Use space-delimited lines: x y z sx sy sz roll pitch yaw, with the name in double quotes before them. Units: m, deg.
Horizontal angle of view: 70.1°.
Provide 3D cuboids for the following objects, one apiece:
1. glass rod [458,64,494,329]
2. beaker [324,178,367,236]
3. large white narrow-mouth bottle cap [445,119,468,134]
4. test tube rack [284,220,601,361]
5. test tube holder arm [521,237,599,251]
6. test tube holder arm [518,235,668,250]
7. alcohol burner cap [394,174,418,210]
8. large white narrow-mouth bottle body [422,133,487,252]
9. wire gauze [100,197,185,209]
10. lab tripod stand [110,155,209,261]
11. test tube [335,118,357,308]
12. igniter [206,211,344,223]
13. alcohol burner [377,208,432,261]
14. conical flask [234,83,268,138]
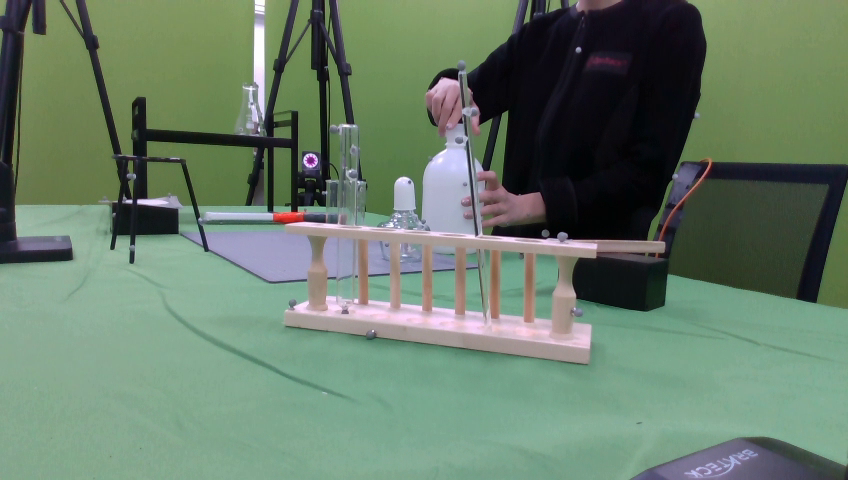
"glass rod" 0.040 -0.029 0.450 0.008 0.199 0.008 -7 9 1
"beaker" -0.139 -0.060 1.083 0.074 0.100 0.083 -3 9 -31
"large white narrow-mouth bottle cap" 0.052 -0.177 0.949 0.038 0.024 0.037 2 8 0
"test tube rack" 0.013 0.032 0.482 0.242 0.085 0.067 4 7 16
"test tube holder arm" 0.144 0.004 0.635 0.088 0.015 0.010 0 12 -19
"test tube holder arm" 0.186 0.003 0.654 0.179 0.015 0.013 1 12 -17
"alcohol burner cap" -0.025 -0.067 0.834 0.034 0.048 0.034 -1 12 1
"large white narrow-mouth bottle body" 0.050 -0.082 0.962 0.102 0.194 0.102 2 8 0
"wire gauze" -0.469 -0.062 1.008 0.126 0.011 0.121 -2 8 -25
"lab tripod stand" -0.361 -0.046 0.806 0.148 0.131 0.148 2 5 0
"test tube" -0.061 -0.019 0.476 0.017 0.150 0.017 2 11 0
"igniter" -0.302 -0.048 1.249 0.278 0.025 0.057 -2 -2 -27
"alcohol burner" -0.027 -0.031 0.838 0.078 0.119 0.078 0 6 0
"conical flask" -0.400 -0.298 1.396 0.075 0.122 0.075 2 8 0
